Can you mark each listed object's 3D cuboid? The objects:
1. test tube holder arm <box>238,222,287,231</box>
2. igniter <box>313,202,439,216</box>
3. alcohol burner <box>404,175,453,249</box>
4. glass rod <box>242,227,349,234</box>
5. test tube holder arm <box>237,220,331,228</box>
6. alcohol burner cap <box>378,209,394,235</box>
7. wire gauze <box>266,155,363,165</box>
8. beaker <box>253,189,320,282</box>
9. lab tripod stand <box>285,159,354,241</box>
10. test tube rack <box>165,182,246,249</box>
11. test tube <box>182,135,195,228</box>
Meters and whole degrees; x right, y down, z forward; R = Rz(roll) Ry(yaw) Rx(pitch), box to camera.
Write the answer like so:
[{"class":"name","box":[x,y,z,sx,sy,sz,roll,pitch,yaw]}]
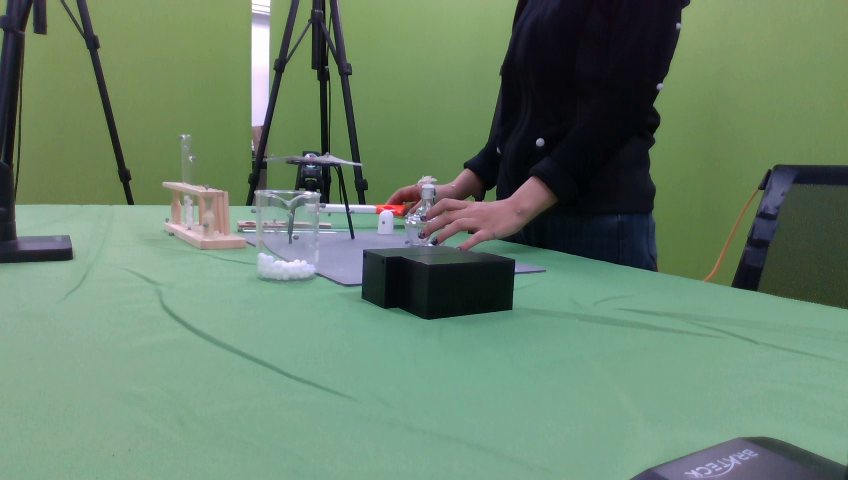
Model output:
[{"class":"test tube holder arm","box":[-0.296,-0.024,1.113,0.088,0.015,0.010,-1,41,-32]},{"class":"igniter","box":[-0.096,-0.065,1.282,0.278,0.025,0.057,0,12,-27]},{"class":"alcohol burner","box":[0.007,-0.045,0.971,0.078,0.119,0.078,1,9,0]},{"class":"glass rod","box":[-0.232,-0.017,1.110,0.201,0.008,0.008,2,6,-29]},{"class":"test tube holder arm","box":[-0.260,-0.029,1.141,0.179,0.015,0.013,-1,41,-32]},{"class":"alcohol burner cap","box":[-0.072,-0.035,1.145,0.034,0.048,0.034,1,7,0]},{"class":"wire gauze","box":[-0.185,-0.136,1.016,0.126,0.011,0.121,-4,11,-33]},{"class":"beaker","box":[-0.156,-0.005,0.689,0.074,0.100,0.083,0,8,-14]},{"class":"lab tripod stand","box":[-0.187,-0.068,1.013,0.148,0.131,0.148,4,9,0]},{"class":"test tube rack","box":[-0.360,-0.045,0.982,0.067,0.085,0.241,-3,9,-34]},{"class":"test tube","box":[-0.382,-0.095,0.983,0.017,0.150,0.017,-1,2,0]}]
